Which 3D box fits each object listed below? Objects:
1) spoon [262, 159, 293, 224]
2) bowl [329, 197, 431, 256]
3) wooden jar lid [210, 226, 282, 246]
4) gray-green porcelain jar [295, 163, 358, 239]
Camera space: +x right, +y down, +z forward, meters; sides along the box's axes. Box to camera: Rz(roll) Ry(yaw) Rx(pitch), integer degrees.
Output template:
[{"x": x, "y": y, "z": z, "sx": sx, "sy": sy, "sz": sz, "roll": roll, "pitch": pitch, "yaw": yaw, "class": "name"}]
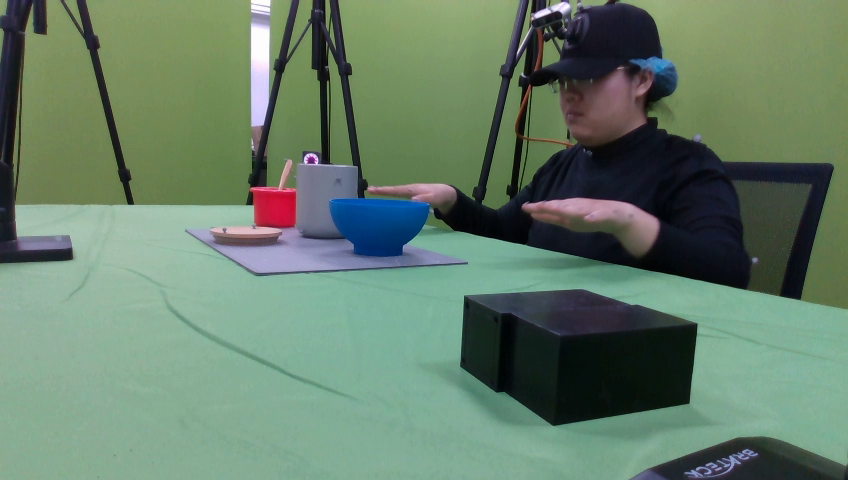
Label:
[{"x": -0.290, "y": -0.102, "z": 1.227, "sx": 0.041, "sy": 0.021, "sz": 0.193, "roll": 3, "pitch": 51, "yaw": 3, "class": "spoon"}, {"x": -0.067, "y": -0.019, "z": 0.895, "sx": 0.151, "sy": 0.077, "sz": 0.151, "roll": 3, "pitch": 7, "yaw": 0, "class": "bowl"}, {"x": -0.279, "y": -0.007, "z": 0.951, "sx": 0.108, "sy": 0.020, "sz": 0.108, "roll": 2, "pitch": 8, "yaw": 0, "class": "wooden jar lid"}, {"x": -0.170, "y": -0.069, "z": 1.054, "sx": 0.106, "sy": 0.126, "sz": 0.106, "roll": 3, "pitch": 7, "yaw": 0, "class": "gray-green porcelain jar"}]
